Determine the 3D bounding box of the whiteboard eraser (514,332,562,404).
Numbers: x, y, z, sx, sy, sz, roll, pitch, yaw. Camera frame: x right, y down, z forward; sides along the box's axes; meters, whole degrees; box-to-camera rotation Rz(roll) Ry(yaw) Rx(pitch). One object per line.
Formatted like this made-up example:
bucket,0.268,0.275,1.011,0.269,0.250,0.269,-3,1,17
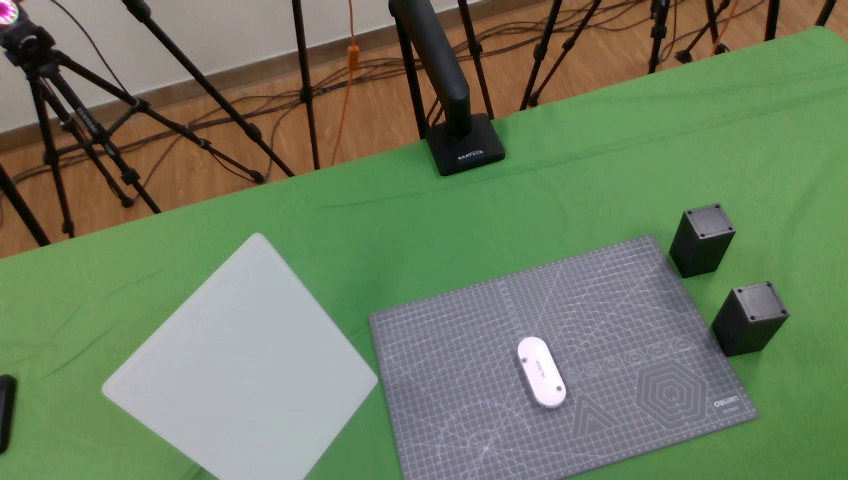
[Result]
whiteboard eraser,0.152,0.170,0.815,0.041,0.019,0.100,-16,56,-4

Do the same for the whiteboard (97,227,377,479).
whiteboard,-0.233,0.149,0.748,0.142,0.309,0.216,17,58,41
